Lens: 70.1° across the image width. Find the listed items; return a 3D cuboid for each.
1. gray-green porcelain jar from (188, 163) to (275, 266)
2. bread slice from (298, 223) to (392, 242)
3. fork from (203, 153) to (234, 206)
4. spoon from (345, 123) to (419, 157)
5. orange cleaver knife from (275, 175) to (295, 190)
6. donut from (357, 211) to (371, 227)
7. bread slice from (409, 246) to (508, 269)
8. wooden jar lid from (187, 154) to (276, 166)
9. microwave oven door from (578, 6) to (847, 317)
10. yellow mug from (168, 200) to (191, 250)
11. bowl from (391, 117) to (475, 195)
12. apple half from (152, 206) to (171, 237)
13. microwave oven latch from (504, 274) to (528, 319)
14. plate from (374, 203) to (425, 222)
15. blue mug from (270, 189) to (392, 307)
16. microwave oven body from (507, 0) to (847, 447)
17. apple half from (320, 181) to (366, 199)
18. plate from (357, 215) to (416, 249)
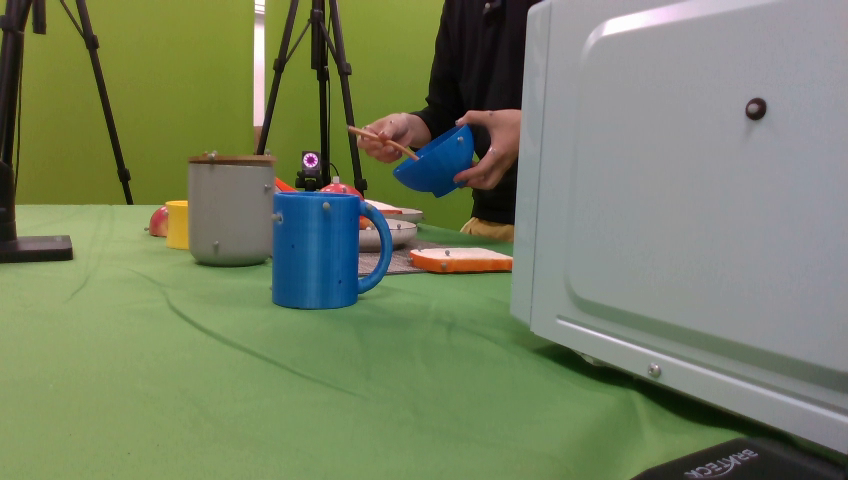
[{"bbox_3d":[-0.246,-0.034,0.779,0.106,0.126,0.106,2,7,0],"label":"gray-green porcelain jar"},{"bbox_3d":[-0.121,-0.013,0.970,0.106,0.018,0.135,8,10,42],"label":"bread slice"},{"bbox_3d":[-0.480,-0.136,1.412,0.028,0.018,0.207,0,-34,-1],"label":"fork"},{"bbox_3d":[-0.041,-0.157,1.014,0.194,0.021,0.041,26,14,0],"label":"spoon"},{"bbox_3d":[-0.283,-0.087,1.343,0.212,0.077,0.012,24,-16,-41],"label":"orange cleaver knife"},{"bbox_3d":[-0.132,-0.041,0.959,0.099,0.048,0.099,3,8,0],"label":"donut"},{"bbox_3d":[0.048,0.022,0.816,0.132,0.019,0.104,0,7,-24],"label":"bread slice"},{"bbox_3d":[-0.244,-0.097,0.771,0.108,0.020,0.108,-1,7,0],"label":"wooden jar lid"},{"bbox_3d":[0.294,-0.067,0.570,0.358,0.243,0.039,-3,9,-31],"label":"microwave oven door"},{"bbox_3d":[-0.320,-0.023,0.904,0.130,0.064,0.100,8,10,36],"label":"yellow mug"},{"bbox_3d":[0.030,-0.127,0.995,0.151,0.077,0.151,-33,12,8],"label":"bowl"},{"bbox_3d":[-0.415,-0.034,1.017,0.081,0.053,0.074,1,10,-9],"label":"apple half"},{"bbox_3d":[0.100,0.041,0.470,0.079,0.029,0.030,-1,7,-27],"label":"microwave oven latch"},{"bbox_3d":[-0.102,-0.053,1.299,0.209,0.038,0.209,2,8,0],"label":"plate"},{"bbox_3d":[-0.090,0.005,0.588,0.117,0.106,0.082,1,7,-11],"label":"blue mug"},{"bbox_3d":[0.331,-0.042,0.425,0.444,0.260,0.324,-2,8,-31],"label":"microwave oven body"},{"bbox_3d":[-0.130,-0.077,0.952,0.081,0.033,0.081,2,15,0],"label":"apple half"},{"bbox_3d":[-0.116,-0.014,0.967,0.208,0.039,0.207,2,7,0],"label":"plate"}]
